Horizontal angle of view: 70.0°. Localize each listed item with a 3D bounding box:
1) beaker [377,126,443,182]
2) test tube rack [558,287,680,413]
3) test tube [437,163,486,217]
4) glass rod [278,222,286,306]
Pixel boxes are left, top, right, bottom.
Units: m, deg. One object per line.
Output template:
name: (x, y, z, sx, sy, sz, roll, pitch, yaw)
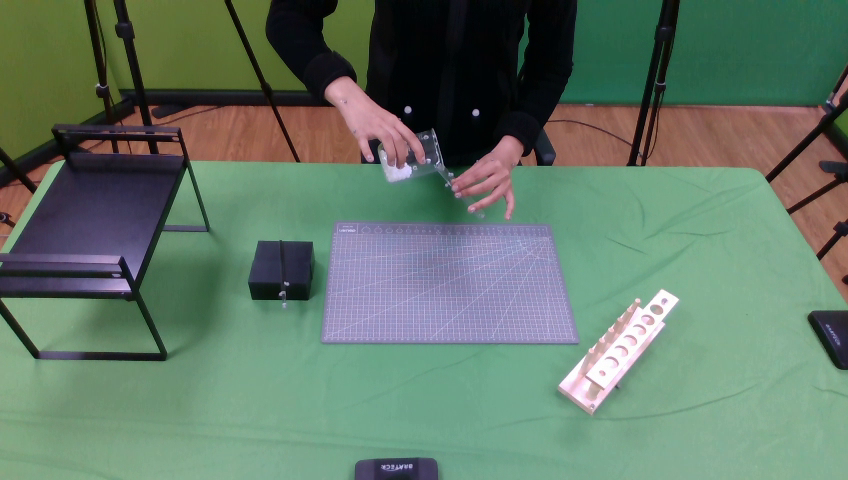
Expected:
beaker: (-0.024, -0.140, 1.016, 0.100, 0.084, 0.073, -14, 49, 1)
test tube rack: (0.327, 0.170, 1.009, 0.066, 0.085, 0.242, 36, 54, 26)
test tube: (0.069, -0.087, 1.091, 0.017, 0.151, 0.017, -24, 44, 25)
glass rod: (-0.255, 0.039, 1.081, 0.008, 0.008, 0.198, -6, 47, -10)
